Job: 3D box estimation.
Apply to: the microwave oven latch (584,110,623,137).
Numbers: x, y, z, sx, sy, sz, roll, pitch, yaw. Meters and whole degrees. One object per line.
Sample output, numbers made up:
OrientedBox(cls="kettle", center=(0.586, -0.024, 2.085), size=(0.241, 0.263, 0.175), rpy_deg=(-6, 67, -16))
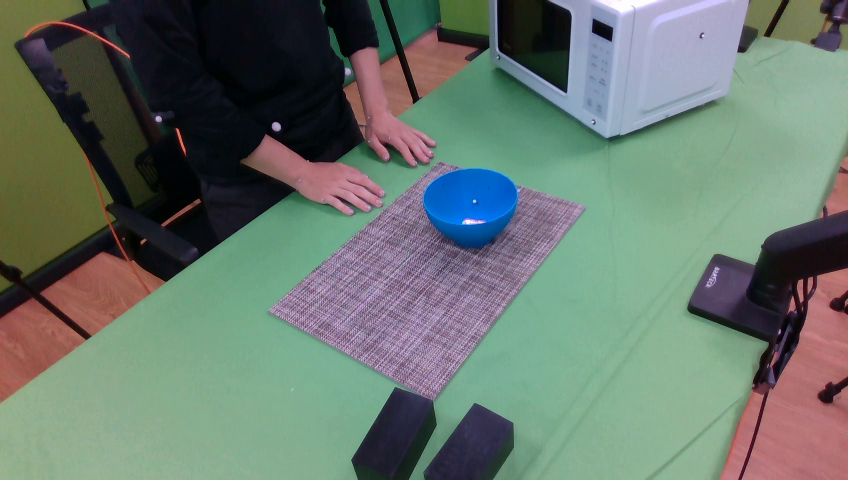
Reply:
OrientedBox(cls="microwave oven latch", center=(0.337, -0.222, 1.142), size=(0.030, 0.029, 0.078), rpy_deg=(-21, 42, -14))

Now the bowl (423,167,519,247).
OrientedBox(cls="bowl", center=(0.075, -0.041, 0.959), size=(0.151, 0.077, 0.150), rpy_deg=(-4, 40, 4))

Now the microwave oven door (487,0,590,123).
OrientedBox(cls="microwave oven door", center=(0.232, -0.420, 1.231), size=(0.039, 0.245, 0.352), rpy_deg=(-22, 43, -16))

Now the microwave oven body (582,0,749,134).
OrientedBox(cls="microwave oven body", center=(0.382, -0.445, 1.246), size=(0.327, 0.261, 0.437), rpy_deg=(-22, 42, -16))
